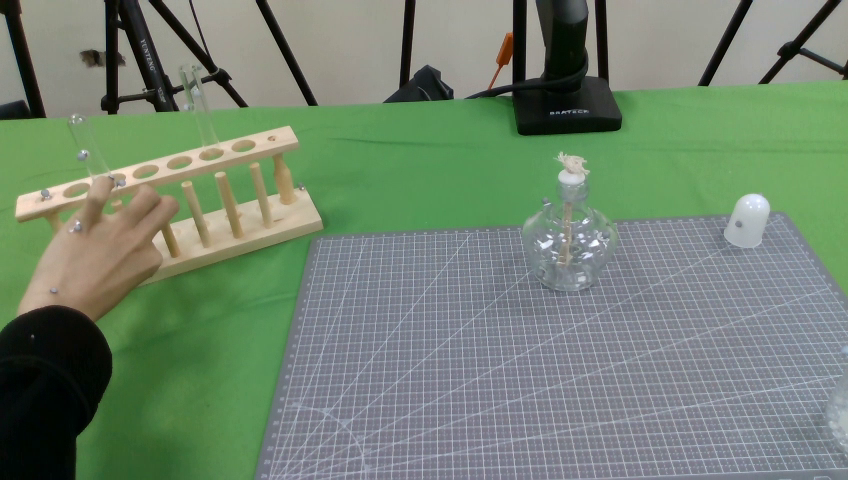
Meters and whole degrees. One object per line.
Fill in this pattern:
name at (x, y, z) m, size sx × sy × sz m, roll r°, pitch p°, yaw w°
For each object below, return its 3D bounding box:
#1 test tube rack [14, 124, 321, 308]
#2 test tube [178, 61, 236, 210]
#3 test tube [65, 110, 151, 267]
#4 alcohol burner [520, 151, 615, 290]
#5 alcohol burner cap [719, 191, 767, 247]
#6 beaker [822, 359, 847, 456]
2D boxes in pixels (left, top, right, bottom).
test tube rack at (-0.227, -0.026, 0.562) m, size 0.243 × 0.086 × 0.066 m, roll -18°, pitch 42°, yaw -16°
test tube at (-0.197, -0.090, 0.556) m, size 0.017 × 0.151 × 0.017 m, roll -2°, pitch 38°, yaw 2°
test tube at (-0.264, -0.039, 0.510) m, size 0.017 × 0.152 × 0.017 m, roll -3°, pitch 37°, yaw 3°
alcohol burner at (0.117, -0.018, 0.492) m, size 0.078 × 0.120 × 0.077 m, roll -4°, pitch 39°, yaw 4°
alcohol burner cap at (0.283, -0.021, 0.535) m, size 0.034 × 0.048 × 0.033 m, roll -3°, pitch 40°, yaw 3°
beaker at (0.290, 0.087, 0.363) m, size 0.074 × 0.101 × 0.083 m, roll -22°, pitch 43°, yaw -19°
